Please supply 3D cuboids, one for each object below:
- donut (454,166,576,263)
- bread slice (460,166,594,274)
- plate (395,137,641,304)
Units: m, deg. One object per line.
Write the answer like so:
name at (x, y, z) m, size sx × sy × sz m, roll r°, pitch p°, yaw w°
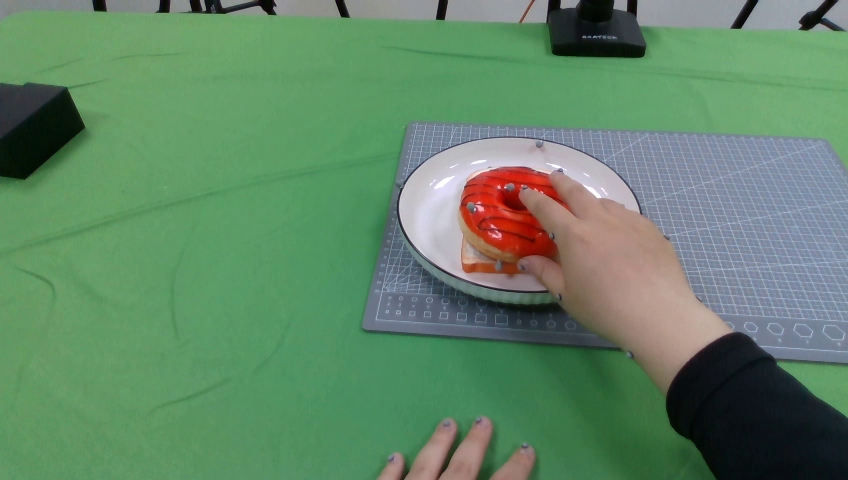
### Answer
donut at (0.074, -0.021, 0.492) m, size 0.099 × 0.048 × 0.098 m, roll 1°, pitch 46°, yaw -1°
bread slice at (0.082, -0.020, 0.534) m, size 0.107 × 0.018 × 0.133 m, roll 0°, pitch 43°, yaw -2°
plate at (0.079, -0.018, 0.529) m, size 0.209 × 0.038 × 0.207 m, roll 0°, pitch 43°, yaw 0°
